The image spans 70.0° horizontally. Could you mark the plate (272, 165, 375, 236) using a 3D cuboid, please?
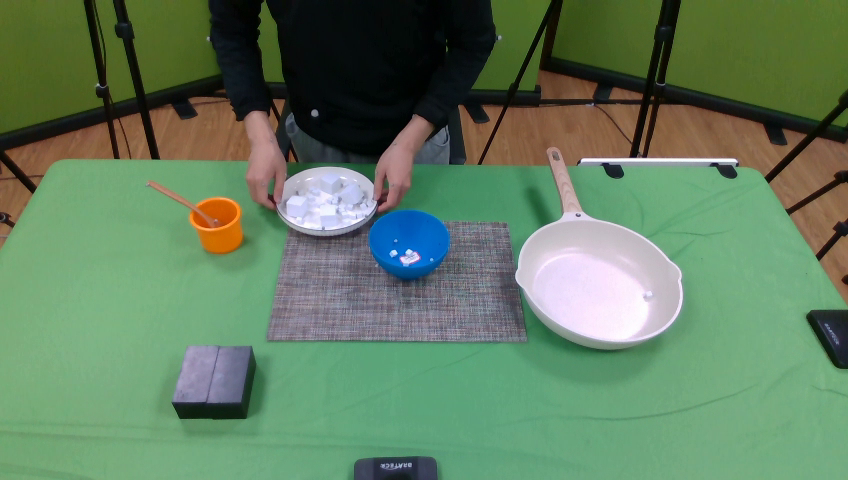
[{"bbox_3d":[-0.203,-0.076,1.240,0.208,0.039,0.206,3,44,-2],"label":"plate"}]

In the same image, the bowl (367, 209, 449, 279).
[{"bbox_3d":[-0.031,0.020,1.132,0.151,0.077,0.150,2,46,-2],"label":"bowl"}]

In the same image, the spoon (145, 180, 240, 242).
[{"bbox_3d":[-0.428,-0.055,1.130,0.021,0.195,0.041,-30,35,31],"label":"spoon"}]

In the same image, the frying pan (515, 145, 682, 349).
[{"bbox_3d":[0.303,-0.004,1.168,0.307,0.103,0.484,-2,55,-7],"label":"frying pan"}]
